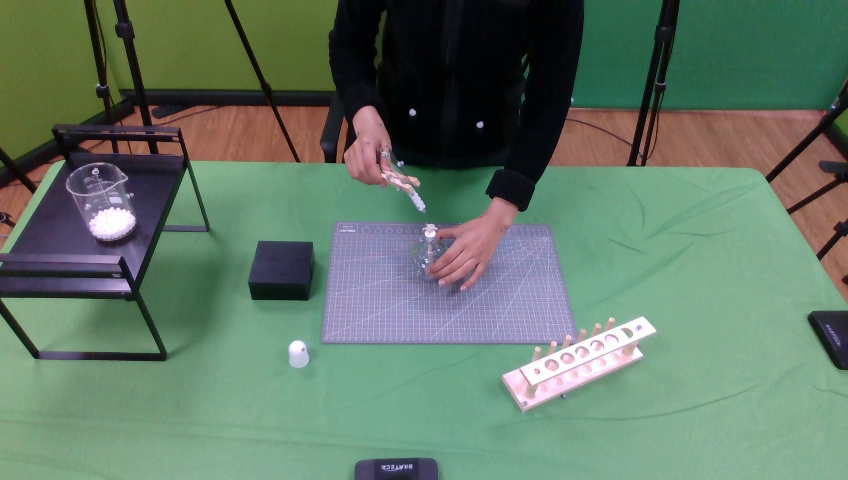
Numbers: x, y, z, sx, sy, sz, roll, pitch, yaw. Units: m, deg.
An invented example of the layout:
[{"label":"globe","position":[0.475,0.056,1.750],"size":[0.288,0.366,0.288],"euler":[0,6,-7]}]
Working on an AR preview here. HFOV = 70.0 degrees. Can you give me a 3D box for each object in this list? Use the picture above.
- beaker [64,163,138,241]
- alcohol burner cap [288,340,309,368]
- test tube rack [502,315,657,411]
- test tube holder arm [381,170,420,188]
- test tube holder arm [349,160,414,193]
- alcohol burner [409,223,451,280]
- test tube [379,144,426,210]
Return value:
[{"label":"beaker","position":[-0.477,-0.055,0.910],"size":[0.084,0.101,0.073],"euler":[-9,48,-13]},{"label":"alcohol burner cap","position":[-0.206,0.183,0.991],"size":[0.034,0.048,0.033],"euler":[3,47,-3]},{"label":"test tube rack","position":[0.253,0.186,0.988],"size":[0.242,0.085,0.066],"euler":[-18,50,-20]},{"label":"test tube holder arm","position":[-0.042,-0.101,0.992],"size":[0.087,0.015,0.010],"euler":[18,57,42]},{"label":"test tube holder arm","position":[-0.075,-0.110,1.021],"size":[0.013,0.015,0.177],"euler":[-44,42,-20]},{"label":"alcohol burner","position":[0.011,0.017,1.107],"size":[0.078,0.120,0.077],"euler":[-1,44,1]},{"label":"test tube","position":[-0.032,-0.097,0.969],"size":[0.017,0.151,0.017],"euler":[-16,48,18]}]
